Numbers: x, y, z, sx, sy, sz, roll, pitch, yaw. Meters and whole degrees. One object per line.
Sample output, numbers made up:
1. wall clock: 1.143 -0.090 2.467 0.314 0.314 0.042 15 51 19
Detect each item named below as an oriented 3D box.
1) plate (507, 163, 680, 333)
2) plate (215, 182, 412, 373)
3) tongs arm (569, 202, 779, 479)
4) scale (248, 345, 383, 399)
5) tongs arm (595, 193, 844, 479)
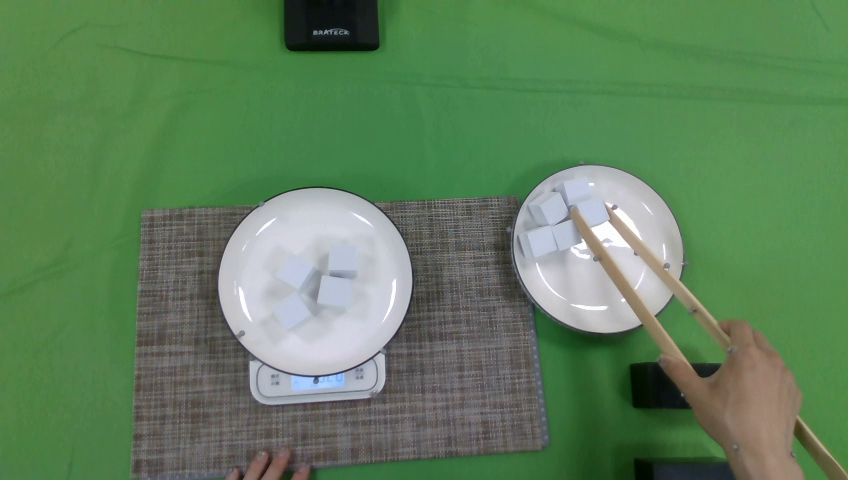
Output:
1. plate: 0.200 0.010 0.731 0.208 0.039 0.206 1 77 -5
2. plate: -0.118 0.040 0.662 0.209 0.038 0.208 1 77 -5
3. tongs arm: 0.252 0.103 0.609 0.028 0.028 0.383 -18 56 -16
4. scale: -0.124 0.076 0.688 0.149 0.031 0.200 -2 78 -5
5. tongs arm: 0.274 0.095 0.614 0.051 0.027 0.380 -24 57 -16
